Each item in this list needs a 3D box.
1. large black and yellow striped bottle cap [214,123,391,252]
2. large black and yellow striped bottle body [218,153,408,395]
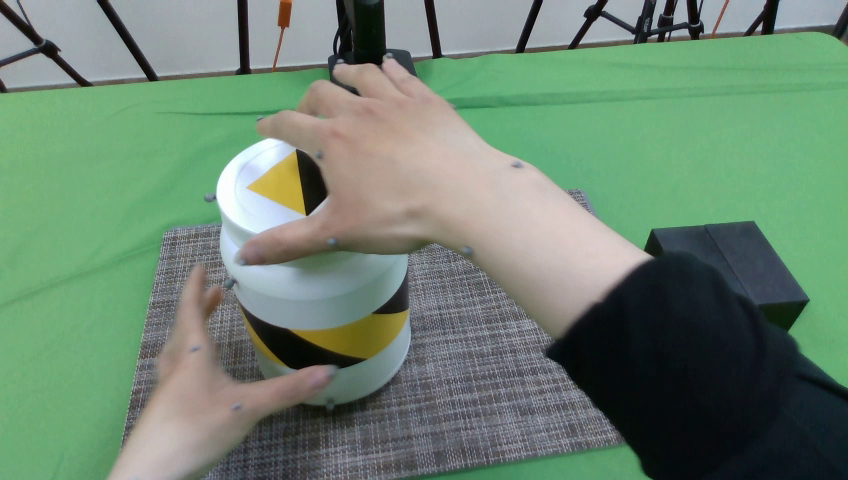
[{"bbox_3d":[-0.079,-0.039,0.403,0.115,0.019,0.114,0,45,1],"label":"large black and yellow striped bottle cap"},{"bbox_3d":[-0.080,0.019,0.464,0.131,0.185,0.129,0,45,0],"label":"large black and yellow striped bottle body"}]
